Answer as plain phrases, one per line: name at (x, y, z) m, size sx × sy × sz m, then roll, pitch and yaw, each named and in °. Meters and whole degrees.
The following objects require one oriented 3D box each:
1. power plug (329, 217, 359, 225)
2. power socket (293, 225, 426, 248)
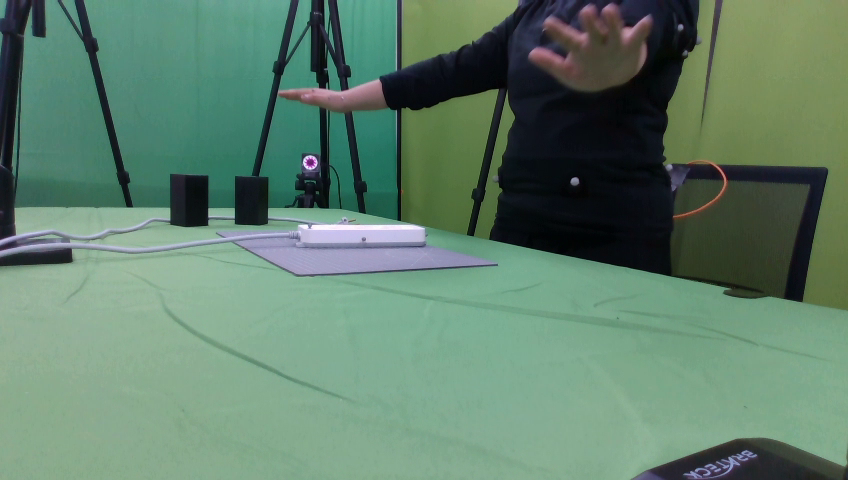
power plug at (-0.152, -0.031, 1.125) m, size 0.053 × 0.035 × 0.072 m, roll -12°, pitch 22°, yaw -14°
power socket at (-0.104, -0.008, 1.003) m, size 0.228 × 0.032 × 0.072 m, roll -1°, pitch 7°, yaw -23°
